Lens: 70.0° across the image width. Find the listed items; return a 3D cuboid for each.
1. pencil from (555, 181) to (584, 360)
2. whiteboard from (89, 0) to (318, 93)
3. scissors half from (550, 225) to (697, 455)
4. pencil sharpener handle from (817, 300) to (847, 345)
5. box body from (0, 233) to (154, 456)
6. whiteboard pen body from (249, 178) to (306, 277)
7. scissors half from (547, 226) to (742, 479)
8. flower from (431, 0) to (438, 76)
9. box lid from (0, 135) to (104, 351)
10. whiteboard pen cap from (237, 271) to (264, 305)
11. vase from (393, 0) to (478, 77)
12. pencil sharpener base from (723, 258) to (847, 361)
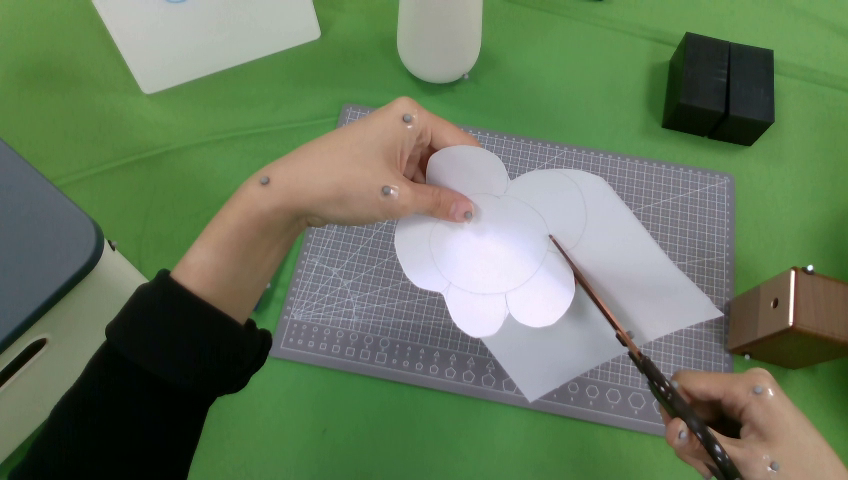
[{"bbox_3d":[0.152,0.027,0.629,0.012,0.012,0.192,-2,71,-3],"label":"pencil"},{"bbox_3d":[-0.269,-0.352,0.637,0.217,0.308,0.142,-22,51,-10],"label":"whiteboard"},{"bbox_3d":[0.123,0.061,0.365,0.013,0.040,0.176,-35,105,6],"label":"scissors half"},{"bbox_3d":[0.395,0.079,0.556,0.030,0.068,0.036,15,63,1],"label":"pencil sharpener handle"},{"bbox_3d":[-0.461,0.012,0.532,0.362,0.161,0.253,36,72,11],"label":"box body"},{"bbox_3d":[-0.155,-0.004,0.626,0.017,0.017,0.140,17,67,5],"label":"whiteboard pen body"},{"bbox_3d":[0.122,0.063,0.343,0.013,0.040,0.174,-35,80,0],"label":"scissors half"},{"bbox_3d":[0.011,-0.309,0.565,0.044,0.365,0.038,4,51,3],"label":"flower"},{"bbox_3d":[-0.461,-0.017,0.463,0.370,0.015,0.262,37,71,11],"label":"box lid"},{"bbox_3d":[-0.171,0.047,0.603,0.018,0.018,0.033,17,65,5],"label":"whiteboard pen cap"},{"bbox_3d":[0.013,-0.264,0.638,0.098,0.201,0.097,0,67,-1],"label":"vase"},{"bbox_3d":[0.345,0.069,0.568,0.077,0.107,0.061,15,68,1],"label":"pencil sharpener base"}]
